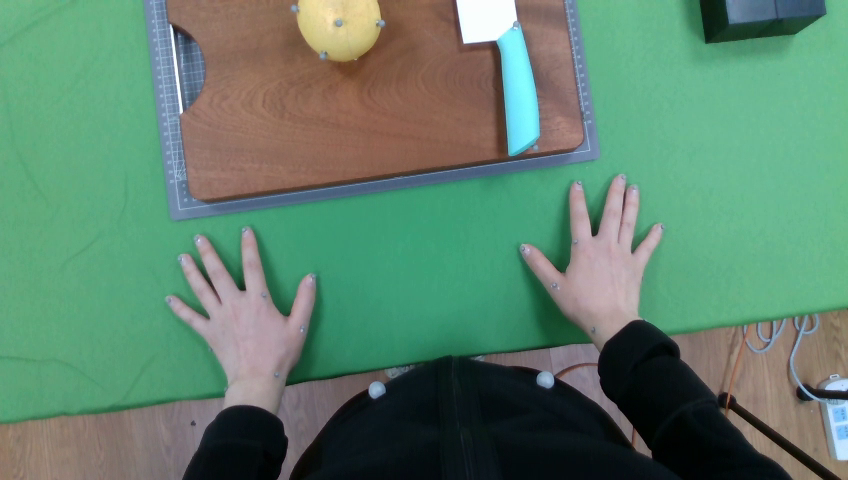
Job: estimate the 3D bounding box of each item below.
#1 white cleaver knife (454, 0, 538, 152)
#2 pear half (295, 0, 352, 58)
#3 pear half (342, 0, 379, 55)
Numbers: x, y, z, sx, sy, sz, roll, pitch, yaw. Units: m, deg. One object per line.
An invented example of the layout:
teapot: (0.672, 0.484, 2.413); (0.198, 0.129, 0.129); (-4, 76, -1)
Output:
white cleaver knife: (0.065, -0.226, 0.611); (0.066, 0.021, 0.285); (-9, 82, 3)
pear half: (-0.093, -0.213, 0.558); (0.056, 0.110, 0.076); (-6, 82, -1)
pear half: (-0.058, -0.214, 0.569); (0.031, 0.088, 0.070); (-5, 82, -2)
